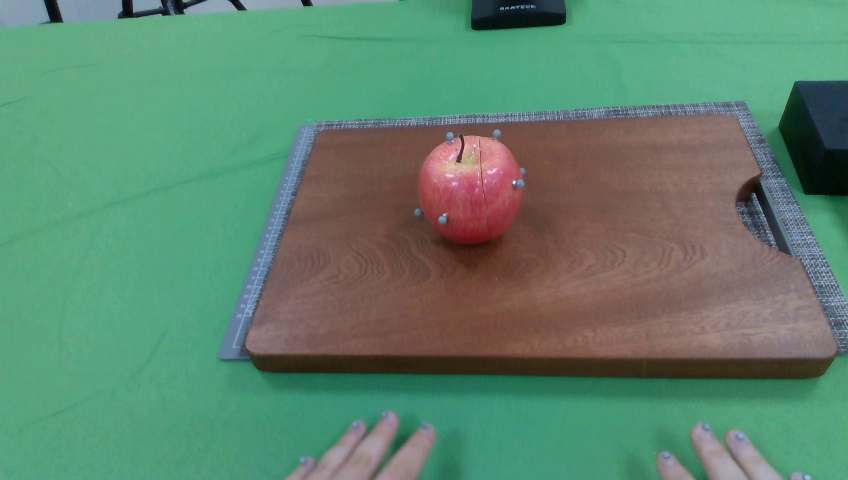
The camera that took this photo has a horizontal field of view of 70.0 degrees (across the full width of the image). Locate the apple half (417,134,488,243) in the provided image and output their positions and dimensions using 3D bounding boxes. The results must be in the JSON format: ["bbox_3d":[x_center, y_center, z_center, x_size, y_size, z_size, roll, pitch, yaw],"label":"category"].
[{"bbox_3d":[0.022,-0.038,0.472,0.053,0.075,0.080,-7,50,8],"label":"apple half"}]

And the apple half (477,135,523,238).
[{"bbox_3d":[0.061,-0.041,0.468,0.033,0.082,0.080,-7,46,7],"label":"apple half"}]
